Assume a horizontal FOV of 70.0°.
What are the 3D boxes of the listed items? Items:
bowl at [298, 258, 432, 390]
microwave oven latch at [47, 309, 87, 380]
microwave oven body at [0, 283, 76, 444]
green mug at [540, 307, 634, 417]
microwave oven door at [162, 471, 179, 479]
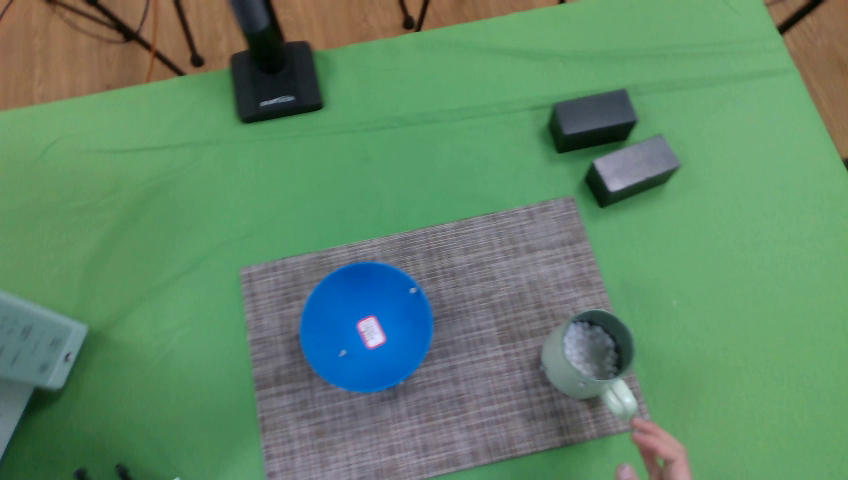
[{"bbox_3d":[-0.065,0.104,0.712,0.151,0.077,0.150,0,70,1],"label":"bowl"},{"bbox_3d":[-0.430,0.123,0.716,0.030,0.029,0.079,17,72,6],"label":"microwave oven latch"},{"bbox_3d":[-0.623,0.212,0.584,0.325,0.261,0.439,15,72,5],"label":"microwave oven body"},{"bbox_3d":[0.192,0.140,0.682,0.092,0.105,0.124,-28,72,-9],"label":"green mug"},{"bbox_3d":[-0.411,0.338,0.531,0.356,0.245,0.039,-37,74,-12],"label":"microwave oven door"}]
